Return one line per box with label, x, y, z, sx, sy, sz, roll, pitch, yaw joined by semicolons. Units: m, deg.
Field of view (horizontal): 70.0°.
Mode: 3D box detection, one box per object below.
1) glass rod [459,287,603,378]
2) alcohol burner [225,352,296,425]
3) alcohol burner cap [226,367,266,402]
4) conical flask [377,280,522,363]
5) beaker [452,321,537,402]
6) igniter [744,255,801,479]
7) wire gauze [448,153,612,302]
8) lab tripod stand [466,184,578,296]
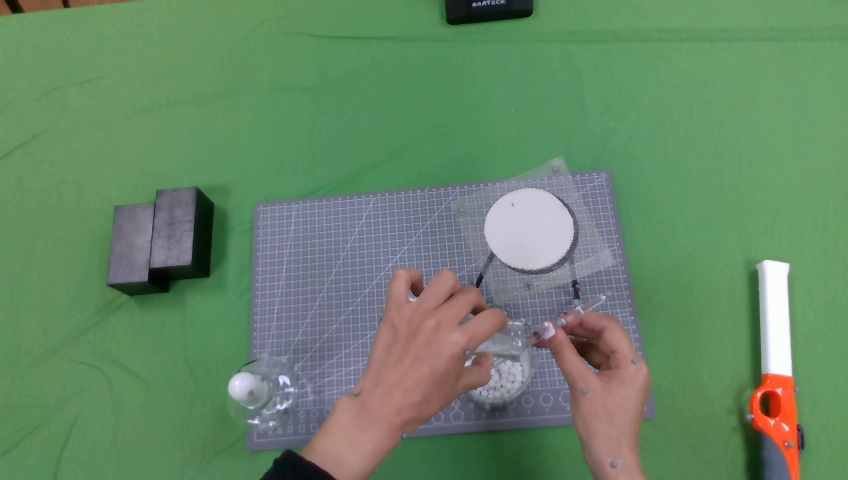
glass rod;0.089;0.089;0.550;0.008;0.200;0.008;20;50;-25
alcohol burner;-0.177;0.155;0.639;0.078;0.120;0.077;-1;72;3
alcohol burner cap;-0.179;0.142;0.605;0.034;0.048;0.033;0;69;0
conical flask;0.024;0.078;0.538;0.121;0.076;0.075;6;71;9
beaker;0.072;0.131;0.636;0.084;0.101;0.073;-7;71;2
igniter;0.371;0.150;0.649;0.057;0.025;0.275;10;72;-3
wire gauze;0.102;-0.013;0.593;0.125;0.011;0.120;-21;73;-2
lab tripod stand;0.108;0.010;0.656;0.148;0.132;0.147;-1;73;5
